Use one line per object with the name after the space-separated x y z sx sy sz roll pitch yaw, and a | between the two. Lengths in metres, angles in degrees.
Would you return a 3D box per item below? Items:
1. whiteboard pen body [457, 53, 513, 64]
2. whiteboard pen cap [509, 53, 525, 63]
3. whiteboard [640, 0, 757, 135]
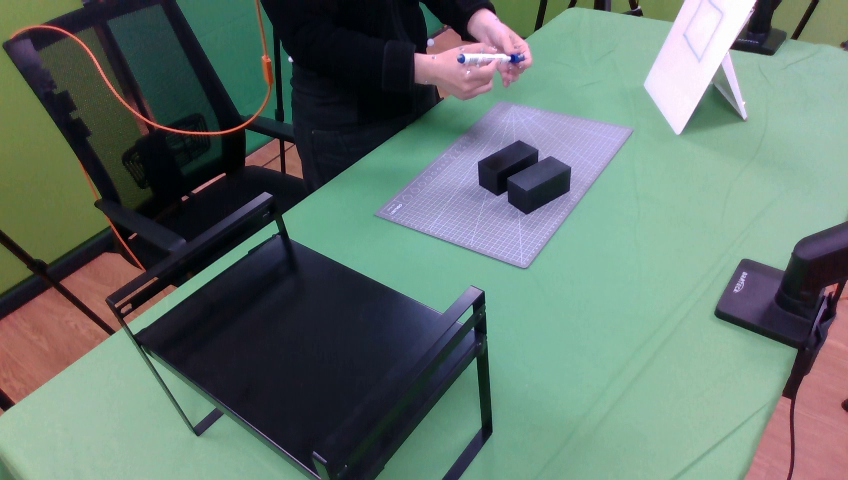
0.108 -0.311 1.034 0.142 0.017 0.017 -16 36 -43 | whiteboard pen body
0.167 -0.327 1.092 0.018 0.018 0.033 24 31 32 | whiteboard pen cap
0.576 -0.366 1.147 0.144 0.305 0.216 10 39 -10 | whiteboard
